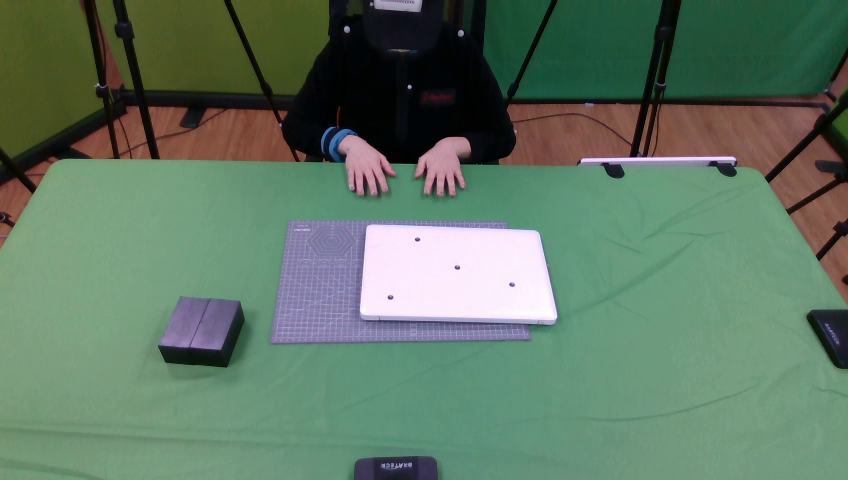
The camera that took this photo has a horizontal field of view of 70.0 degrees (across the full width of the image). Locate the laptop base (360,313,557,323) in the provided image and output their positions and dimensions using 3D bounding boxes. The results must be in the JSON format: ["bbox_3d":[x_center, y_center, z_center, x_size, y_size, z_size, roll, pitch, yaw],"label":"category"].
[{"bbox_3d":[0.061,0.063,1.145,0.354,0.023,0.234,2,43,-3],"label":"laptop base"}]

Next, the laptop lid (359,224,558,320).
[{"bbox_3d":[0.061,0.053,1.137,0.357,0.013,0.240,3,44,-2],"label":"laptop lid"}]
